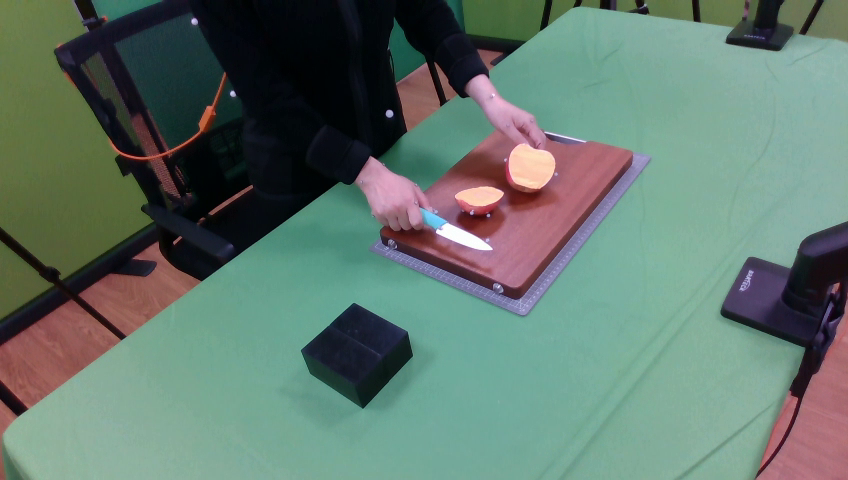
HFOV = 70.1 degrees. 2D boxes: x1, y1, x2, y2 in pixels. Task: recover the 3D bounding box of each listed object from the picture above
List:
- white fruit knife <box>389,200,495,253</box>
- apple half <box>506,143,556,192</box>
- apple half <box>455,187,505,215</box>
[{"bbox_3d":[0.026,-0.022,0.937,0.205,0.016,0.027,26,82,33],"label":"white fruit knife"},{"bbox_3d":[0.175,-0.116,1.015,0.081,0.053,0.074,14,75,-4],"label":"apple half"},{"bbox_3d":[0.094,-0.060,0.988,0.081,0.033,0.081,-4,24,2],"label":"apple half"}]
